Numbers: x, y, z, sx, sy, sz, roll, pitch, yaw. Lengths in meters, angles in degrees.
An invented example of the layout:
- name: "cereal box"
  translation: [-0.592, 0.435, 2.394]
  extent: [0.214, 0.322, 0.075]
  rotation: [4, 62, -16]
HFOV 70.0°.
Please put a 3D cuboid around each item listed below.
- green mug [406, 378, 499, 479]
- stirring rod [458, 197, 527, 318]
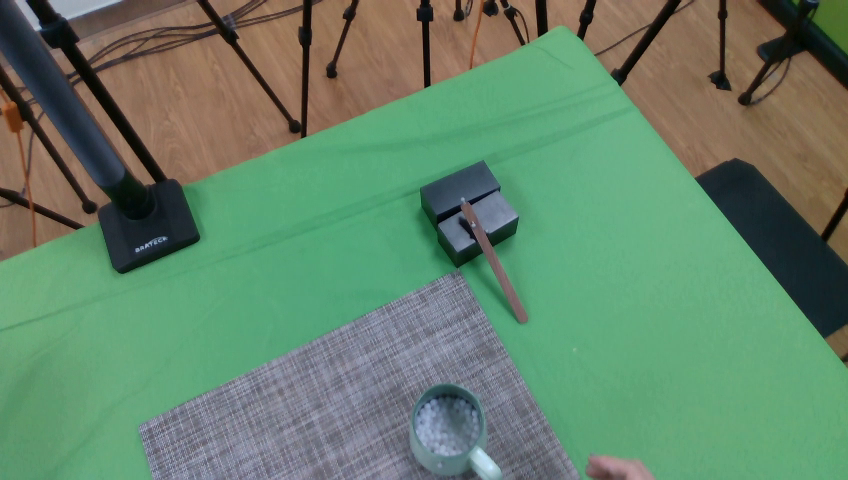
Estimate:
- name: "green mug"
  translation: [0.036, 0.218, 0.682]
  extent: [0.092, 0.106, 0.124]
  rotation: [-42, 70, -17]
- name: "stirring rod"
  translation: [0.090, 0.023, 0.793]
  extent: [0.014, 0.006, 0.176]
  rotation: [-28, 91, 0]
